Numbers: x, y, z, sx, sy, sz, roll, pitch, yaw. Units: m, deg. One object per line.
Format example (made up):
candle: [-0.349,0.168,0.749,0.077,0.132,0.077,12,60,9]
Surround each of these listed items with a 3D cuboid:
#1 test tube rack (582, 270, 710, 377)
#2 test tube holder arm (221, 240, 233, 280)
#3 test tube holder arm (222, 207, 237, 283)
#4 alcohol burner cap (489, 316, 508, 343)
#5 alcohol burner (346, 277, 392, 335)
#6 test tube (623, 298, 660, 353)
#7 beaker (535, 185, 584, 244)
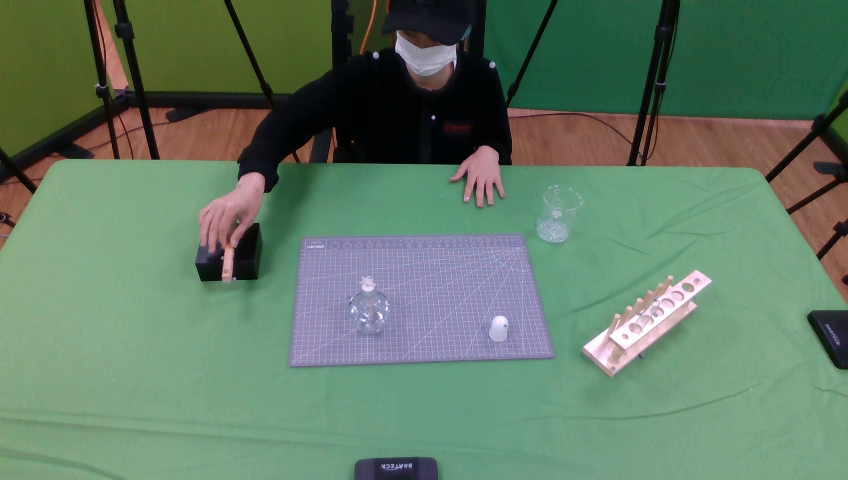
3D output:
test tube rack: [0.389,0.132,1.057,0.242,0.085,0.066,-28,54,-28]
test tube holder arm: [-0.343,0.034,1.056,0.015,0.010,0.087,-3,46,-8]
test tube holder arm: [-0.349,0.005,1.090,0.015,0.013,0.177,-3,48,-8]
alcohol burner cap: [0.130,0.151,1.045,0.034,0.048,0.033,2,46,-2]
alcohol burner: [-0.093,0.106,1.021,0.078,0.120,0.077,1,46,-1]
test tube: [0.344,0.140,0.976,0.017,0.151,0.017,3,50,-3]
beaker: [0.268,-0.048,1.213,0.084,0.101,0.073,6,46,0]
